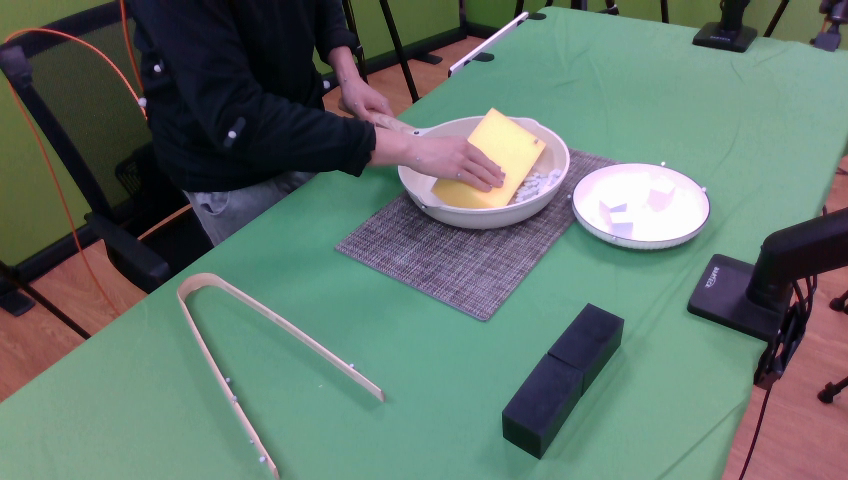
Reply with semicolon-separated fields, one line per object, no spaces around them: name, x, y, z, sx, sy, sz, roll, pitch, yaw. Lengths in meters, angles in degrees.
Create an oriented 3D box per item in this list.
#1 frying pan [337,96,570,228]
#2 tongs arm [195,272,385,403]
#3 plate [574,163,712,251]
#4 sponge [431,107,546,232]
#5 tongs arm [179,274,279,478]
frying pan;0.023;-0.167;1.090;0.484;0.103;0.308;32;52;26
tongs arm;-0.198;0.126;0.847;0.384;0.028;0.028;25;52;32
plate;0.344;-0.050;0.966;0.207;0.039;0.206;-4;40;4
sponge;0.113;-0.123;1.020;0.118;0.061;0.207;34;50;2
tongs arm;-0.260;0.161;0.807;0.051;0.026;0.381;-28;44;-25
